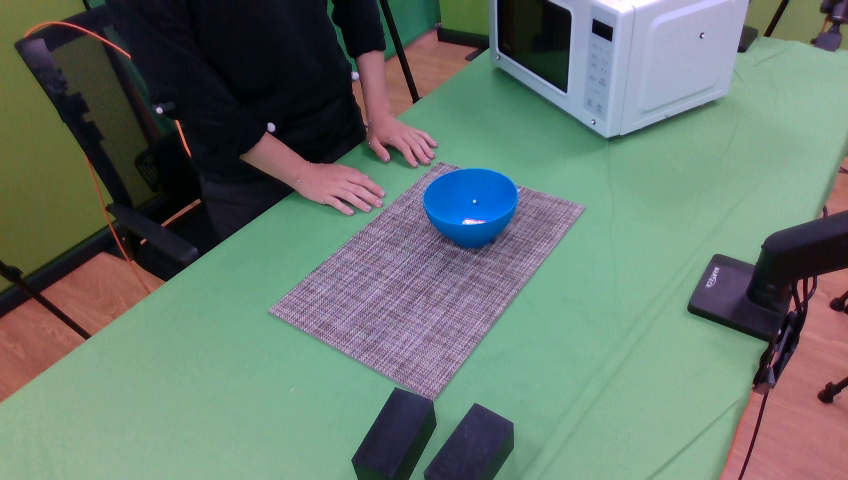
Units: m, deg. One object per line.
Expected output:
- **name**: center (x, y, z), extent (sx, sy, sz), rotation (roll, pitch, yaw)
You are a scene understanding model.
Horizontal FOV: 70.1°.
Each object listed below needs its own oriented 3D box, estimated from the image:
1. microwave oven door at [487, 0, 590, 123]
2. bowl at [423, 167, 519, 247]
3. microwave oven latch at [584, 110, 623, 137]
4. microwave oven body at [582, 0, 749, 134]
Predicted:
- **microwave oven door**: center (0.232, -0.420, 1.231), extent (0.039, 0.245, 0.352), rotation (-22, 43, -16)
- **bowl**: center (0.075, -0.041, 0.958), extent (0.151, 0.077, 0.150), rotation (-4, 40, 4)
- **microwave oven latch**: center (0.337, -0.222, 1.142), extent (0.030, 0.029, 0.078), rotation (-21, 42, -14)
- **microwave oven body**: center (0.382, -0.445, 1.246), extent (0.327, 0.261, 0.437), rotation (-22, 42, -16)
